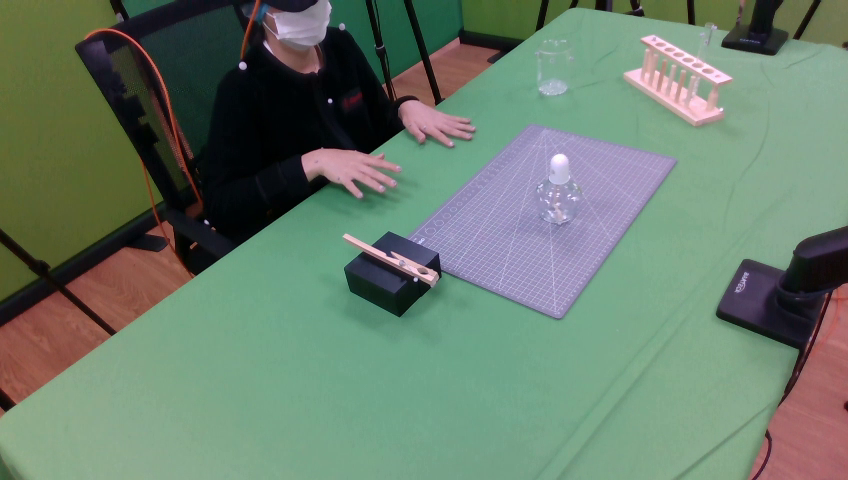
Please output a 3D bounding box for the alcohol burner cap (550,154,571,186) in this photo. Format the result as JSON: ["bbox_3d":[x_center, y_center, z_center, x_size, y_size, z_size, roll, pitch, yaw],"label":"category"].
[{"bbox_3d":[0.212,-0.112,0.944,0.034,0.048,0.033,-6,44,7],"label":"alcohol burner cap"}]

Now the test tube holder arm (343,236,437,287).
[{"bbox_3d":[-0.054,0.028,0.879,0.177,0.015,0.013,22,56,32],"label":"test tube holder arm"}]

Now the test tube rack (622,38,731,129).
[{"bbox_3d":[0.506,-0.325,1.234,0.067,0.085,0.240,-18,41,-11],"label":"test tube rack"}]

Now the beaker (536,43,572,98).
[{"bbox_3d":[0.280,-0.368,1.311,0.074,0.101,0.084,4,41,14],"label":"beaker"}]

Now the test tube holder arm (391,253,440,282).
[{"bbox_3d":[-0.015,0.039,0.858,0.087,0.015,0.010,22,57,32],"label":"test tube holder arm"}]

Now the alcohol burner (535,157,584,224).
[{"bbox_3d":[0.217,-0.085,0.967,0.078,0.119,0.077,-3,41,3],"label":"alcohol burner"}]

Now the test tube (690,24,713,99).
[{"bbox_3d":[0.534,-0.342,1.172,0.017,0.151,0.017,-3,41,3],"label":"test tube"}]
